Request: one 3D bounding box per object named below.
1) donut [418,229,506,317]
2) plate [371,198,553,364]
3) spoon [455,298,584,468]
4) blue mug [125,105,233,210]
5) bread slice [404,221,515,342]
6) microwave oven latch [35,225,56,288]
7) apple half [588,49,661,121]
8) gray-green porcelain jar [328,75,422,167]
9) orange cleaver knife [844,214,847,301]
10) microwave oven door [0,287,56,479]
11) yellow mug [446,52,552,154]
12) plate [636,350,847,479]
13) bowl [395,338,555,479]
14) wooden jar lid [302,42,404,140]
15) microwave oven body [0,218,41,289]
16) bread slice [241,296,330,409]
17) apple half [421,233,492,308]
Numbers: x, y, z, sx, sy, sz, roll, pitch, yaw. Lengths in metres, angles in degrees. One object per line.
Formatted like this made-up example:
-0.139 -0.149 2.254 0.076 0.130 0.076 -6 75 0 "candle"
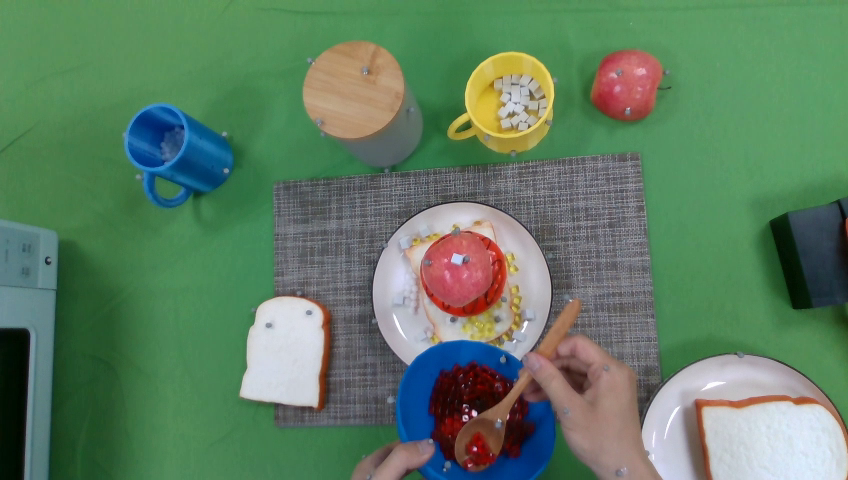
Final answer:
0.042 0.036 0.671 0.099 0.048 0.099 -1 83 11 "donut"
0.043 0.056 0.697 0.207 0.039 0.207 -1 83 10 "plate"
0.086 0.130 0.538 0.041 0.021 0.194 34 112 7 "spoon"
-0.303 -0.093 0.745 0.082 0.106 0.116 17 86 12 "blue mug"
0.048 0.054 0.698 0.107 0.018 0.133 -21 79 7 "bread slice"
-0.496 0.022 0.779 0.030 0.029 0.079 0 83 10 "microwave oven latch"
0.230 -0.183 0.691 0.074 0.053 0.080 19 87 14 "apple half"
-0.061 -0.146 0.700 0.105 0.127 0.105 -1 82 10 "gray-green porcelain jar"
0.451 0.077 0.604 0.012 0.077 0.212 -15 102 1 "orange cleaver knife"
-0.507 0.225 0.651 0.039 0.245 0.354 -4 82 10 "microwave oven door"
0.084 -0.151 0.706 0.131 0.064 0.099 -26 79 7 "yellow mug"
0.327 0.219 0.630 0.209 0.038 0.208 -1 82 11 "plate"
0.040 0.177 0.575 0.152 0.077 0.150 9 47 -9 "bowl"
-0.073 -0.155 0.637 0.108 0.021 0.108 -1 80 8 "wooden jar lid"
-0.651 0.193 0.686 0.325 0.261 0.440 -4 83 9 "microwave oven body"
-0.167 0.134 0.734 0.104 0.019 0.131 4 85 9 "bread slice"
0.033 0.031 0.636 0.081 0.033 0.081 -3 79 16 "apple half"
